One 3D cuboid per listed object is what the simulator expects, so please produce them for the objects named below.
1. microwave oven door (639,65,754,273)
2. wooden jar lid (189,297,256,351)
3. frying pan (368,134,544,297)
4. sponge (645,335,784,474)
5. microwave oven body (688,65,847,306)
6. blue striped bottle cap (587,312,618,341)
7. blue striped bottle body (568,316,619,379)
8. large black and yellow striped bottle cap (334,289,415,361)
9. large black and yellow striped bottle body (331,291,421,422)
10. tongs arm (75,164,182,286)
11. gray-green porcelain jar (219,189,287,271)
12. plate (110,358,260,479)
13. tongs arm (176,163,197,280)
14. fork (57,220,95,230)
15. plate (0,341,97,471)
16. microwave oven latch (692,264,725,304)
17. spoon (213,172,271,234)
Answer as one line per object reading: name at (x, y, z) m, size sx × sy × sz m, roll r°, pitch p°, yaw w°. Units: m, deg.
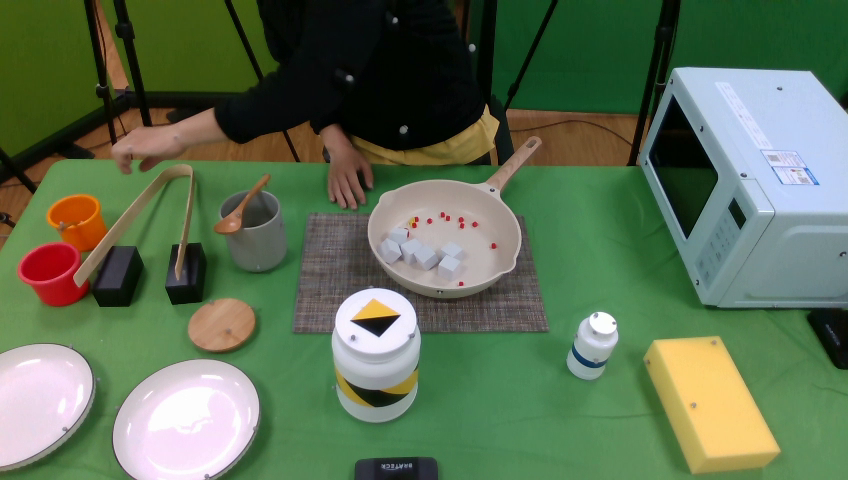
microwave oven door at (0.522, -0.147, 1.193) m, size 0.039 × 0.245 × 0.353 m, roll 0°, pitch 47°, yaw -3°
wooden jar lid at (-0.342, 0.145, 1.033) m, size 0.108 × 0.021 × 0.107 m, roll 2°, pitch 45°, yaw -2°
frying pan at (0.104, -0.069, 1.205) m, size 0.305 × 0.103 × 0.487 m, roll 32°, pitch 61°, yaw 23°
sponge at (0.449, 0.253, 0.956) m, size 0.118 × 0.061 × 0.205 m, roll -4°, pitch 46°, yaw -7°
microwave oven body at (0.669, -0.111, 1.176) m, size 0.326 × 0.261 × 0.439 m, roll 0°, pitch 46°, yaw -3°
blue striped bottle cap at (0.279, 0.134, 0.947) m, size 0.044 × 0.021 × 0.044 m, roll 2°, pitch 44°, yaw -2°
blue striped bottle body at (0.276, 0.168, 0.984) m, size 0.063 × 0.121 × 0.062 m, roll 2°, pitch 46°, yaw -2°
large black and yellow striped bottle cap at (-0.069, 0.117, 0.850) m, size 0.115 × 0.019 × 0.114 m, roll 2°, pitch 45°, yaw -2°
large black and yellow striped bottle body at (-0.072, 0.175, 0.912) m, size 0.131 × 0.185 × 0.130 m, roll 2°, pitch 47°, yaw -2°
tongs arm at (-0.548, -0.043, 1.143) m, size 0.028 × 0.028 × 0.385 m, roll -3°, pitch 35°, yaw 7°
gray-green porcelain jar at (-0.309, -0.014, 1.113) m, size 0.106 × 0.127 × 0.105 m, roll 2°, pitch 46°, yaw -2°
plate at (-0.349, 0.273, 0.899) m, size 0.208 × 0.039 × 0.206 m, roll 2°, pitch 46°, yaw -2°
tongs arm at (-0.462, -0.049, 1.149) m, size 0.051 × 0.026 × 0.382 m, roll -8°, pitch 36°, yaw -7°
fork at (-0.624, -0.027, 1.086) m, size 0.028 × 0.207 × 0.018 m, roll -2°, pitch 91°, yaw -17°
plate at (-0.599, 0.247, 0.904) m, size 0.209 × 0.038 × 0.208 m, roll 2°, pitch 47°, yaw -2°
microwave oven latch at (0.522, 0.081, 1.116) m, size 0.030 × 0.029 × 0.078 m, roll 1°, pitch 46°, yaw -2°
spoon at (-0.312, -0.069, 1.068) m, size 0.041 × 0.022 × 0.193 m, roll 10°, pitch 43°, yaw 10°
